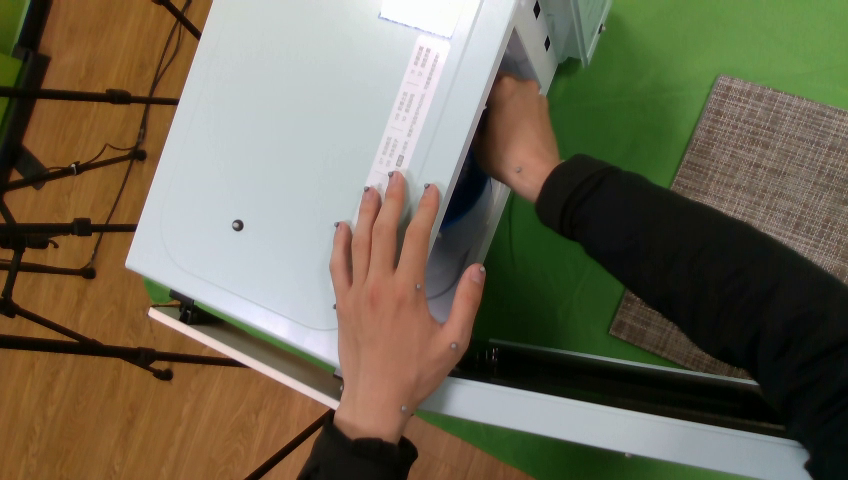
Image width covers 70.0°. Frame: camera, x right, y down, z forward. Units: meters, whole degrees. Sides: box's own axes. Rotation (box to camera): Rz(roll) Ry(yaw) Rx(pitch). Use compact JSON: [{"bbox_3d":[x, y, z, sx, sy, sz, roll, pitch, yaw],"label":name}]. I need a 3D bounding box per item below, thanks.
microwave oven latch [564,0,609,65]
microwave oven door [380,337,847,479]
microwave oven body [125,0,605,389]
[{"bbox_3d":[0.176,-0.234,0.657,0.030,0.029,0.079,22,95,17],"label":"microwave oven latch"},{"bbox_3d":[0.167,0.141,0.536,0.354,0.245,0.039,6,88,18],"label":"microwave oven door"},{"bbox_3d":[-0.047,-0.125,0.621,0.324,0.261,0.442,21,95,17],"label":"microwave oven body"}]
